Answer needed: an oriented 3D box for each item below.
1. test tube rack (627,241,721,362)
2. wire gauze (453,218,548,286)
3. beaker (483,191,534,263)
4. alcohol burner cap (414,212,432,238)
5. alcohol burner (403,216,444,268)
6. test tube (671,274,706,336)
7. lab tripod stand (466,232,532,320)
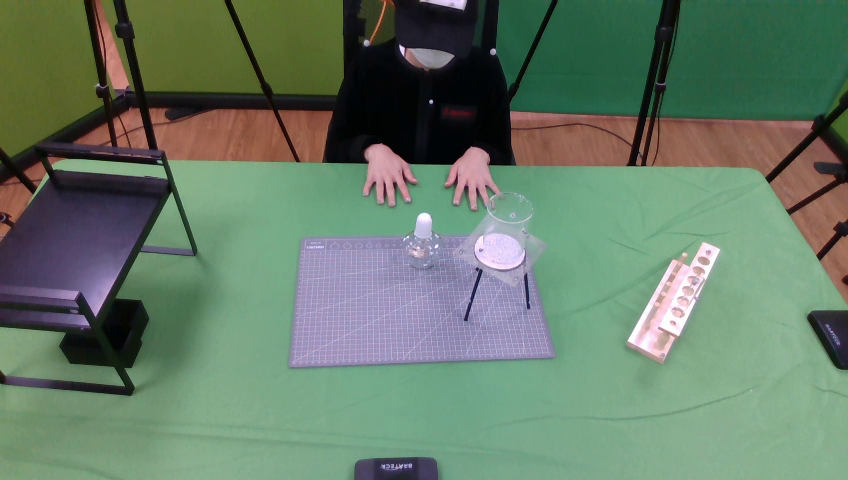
[{"bbox_3d":[0.452,0.098,1.087,0.066,0.085,0.242,28,51,22],"label":"test tube rack"},{"bbox_3d":[0.129,0.014,1.019,0.124,0.011,0.121,26,47,25],"label":"wire gauze"},{"bbox_3d":[0.135,-0.020,0.983,0.073,0.101,0.084,28,50,23],"label":"beaker"},{"bbox_3d":[0.000,-0.030,1.107,0.034,0.048,0.033,4,41,-3],"label":"alcohol burner cap"},{"bbox_3d":[-0.001,-0.004,1.132,0.078,0.120,0.077,1,46,0],"label":"alcohol burner"},{"bbox_3d":[0.429,0.112,1.004,0.017,0.151,0.017,4,43,-4],"label":"test tube"},{"bbox_3d":[0.125,0.059,1.065,0.148,0.132,0.147,1,45,0],"label":"lab tripod stand"}]
